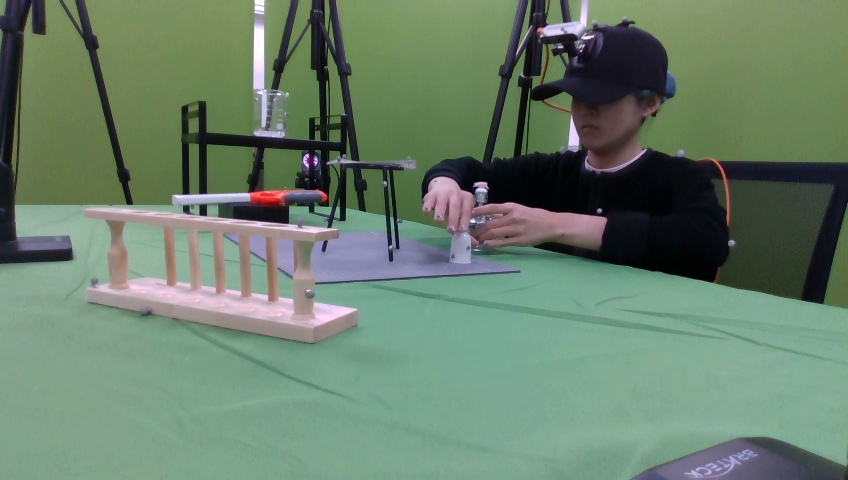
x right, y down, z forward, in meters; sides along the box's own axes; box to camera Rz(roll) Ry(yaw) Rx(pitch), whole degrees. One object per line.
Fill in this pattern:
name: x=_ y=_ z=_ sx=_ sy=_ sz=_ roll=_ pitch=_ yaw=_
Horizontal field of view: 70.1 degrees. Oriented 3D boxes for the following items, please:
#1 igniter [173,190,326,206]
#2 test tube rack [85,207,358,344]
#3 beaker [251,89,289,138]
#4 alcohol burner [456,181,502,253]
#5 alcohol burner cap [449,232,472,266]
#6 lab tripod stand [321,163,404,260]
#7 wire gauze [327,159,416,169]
igniter: x=-0.317 y=-0.079 z=1.128 sx=0.278 sy=0.025 sz=0.057 roll=-4 pitch=13 yaw=-32
test tube rack: x=-0.177 y=0.022 z=0.518 sx=0.241 sy=0.085 sz=0.067 roll=6 pitch=7 yaw=23
beaker: x=-0.334 y=-0.273 z=1.316 sx=0.084 sy=0.100 sz=0.074 roll=6 pitch=8 yaw=15
alcohol burner: x=0.093 y=-0.039 z=1.007 sx=0.078 sy=0.119 sz=0.078 roll=4 pitch=9 yaw=0
alcohol burner cap: x=0.052 y=0.012 z=0.843 sx=0.034 sy=0.048 sz=0.034 roll=1 pitch=6 yaw=0
lab tripod stand: x=-0.076 y=-0.045 z=0.884 sx=0.148 sy=0.131 sz=0.148 roll=2 pitch=5 yaw=0
wire gauze: x=-0.072 y=-0.111 z=0.872 sx=0.121 sy=0.011 sz=0.125 roll=3 pitch=5 yaw=-2
